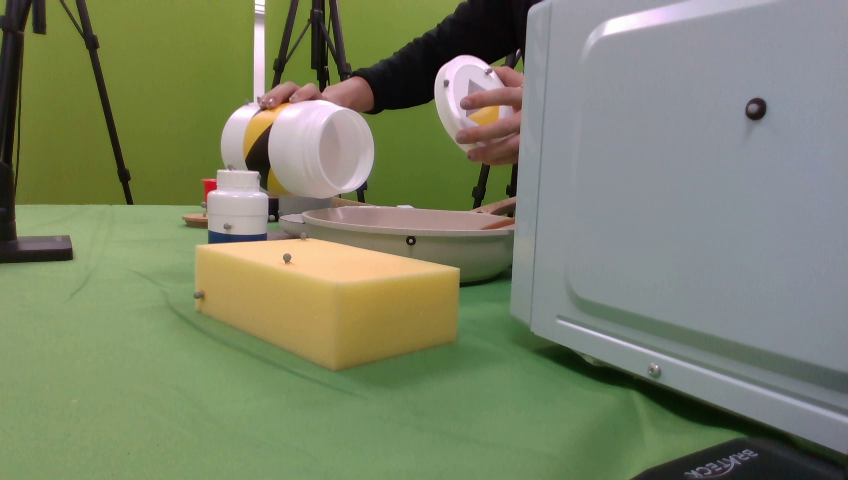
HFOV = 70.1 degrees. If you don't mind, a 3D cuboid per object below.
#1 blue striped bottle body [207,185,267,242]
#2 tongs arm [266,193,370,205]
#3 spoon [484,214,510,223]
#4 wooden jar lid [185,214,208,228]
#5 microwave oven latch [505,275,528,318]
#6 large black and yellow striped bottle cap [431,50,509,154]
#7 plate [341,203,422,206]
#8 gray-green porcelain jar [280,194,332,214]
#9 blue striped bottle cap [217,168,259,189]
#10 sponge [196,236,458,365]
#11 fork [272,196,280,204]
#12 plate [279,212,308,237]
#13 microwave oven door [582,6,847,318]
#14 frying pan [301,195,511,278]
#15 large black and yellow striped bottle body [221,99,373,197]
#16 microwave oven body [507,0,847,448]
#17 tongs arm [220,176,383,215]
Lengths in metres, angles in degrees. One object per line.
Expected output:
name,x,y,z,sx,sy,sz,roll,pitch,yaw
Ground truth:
blue striped bottle body,-0.204,-0.016,0.663,0.063,0.120,0.063,2,7,0
tongs arm,-0.241,-0.095,1.373,0.387,0.026,0.050,9,0,-37
spoon,0.076,-0.013,0.793,0.193,0.021,0.042,-24,-4,11
wooden jar lid,-0.404,-0.037,1.169,0.108,0.020,0.108,3,7,0
microwave oven latch,0.100,0.041,0.472,0.079,0.029,0.030,-2,8,-31
large black and yellow striped bottle cap,0.054,-0.154,0.673,0.115,0.115,0.018,-6,-3,-45
plate,-0.089,-0.054,1.309,0.208,0.039,0.207,2,8,0
gray-green porcelain jar,-0.238,-0.092,1.221,0.106,0.126,0.106,2,7,0
blue striped bottle cap,-0.202,-0.067,0.656,0.044,0.020,0.044,0,10,0
sponge,-0.087,0.039,0.500,0.206,0.061,0.119,8,9,44
fork,-0.396,-0.143,1.486,0.028,0.018,0.208,20,-26,45
plate,-0.139,-0.022,1.021,0.209,0.038,0.209,2,8,0
microwave oven door,0.295,-0.067,0.569,0.358,0.243,0.039,-3,8,-31
frying pan,0.051,-0.029,0.864,0.305,0.102,0.490,8,18,35
large black and yellow striped bottle body,-0.174,-0.127,0.836,0.183,0.130,0.131,7,9,36
microwave oven body,0.331,-0.042,0.425,0.444,0.260,0.324,-2,8,-31
tongs arm,-0.285,-0.104,1.445,0.389,0.027,0.028,9,-4,-23
